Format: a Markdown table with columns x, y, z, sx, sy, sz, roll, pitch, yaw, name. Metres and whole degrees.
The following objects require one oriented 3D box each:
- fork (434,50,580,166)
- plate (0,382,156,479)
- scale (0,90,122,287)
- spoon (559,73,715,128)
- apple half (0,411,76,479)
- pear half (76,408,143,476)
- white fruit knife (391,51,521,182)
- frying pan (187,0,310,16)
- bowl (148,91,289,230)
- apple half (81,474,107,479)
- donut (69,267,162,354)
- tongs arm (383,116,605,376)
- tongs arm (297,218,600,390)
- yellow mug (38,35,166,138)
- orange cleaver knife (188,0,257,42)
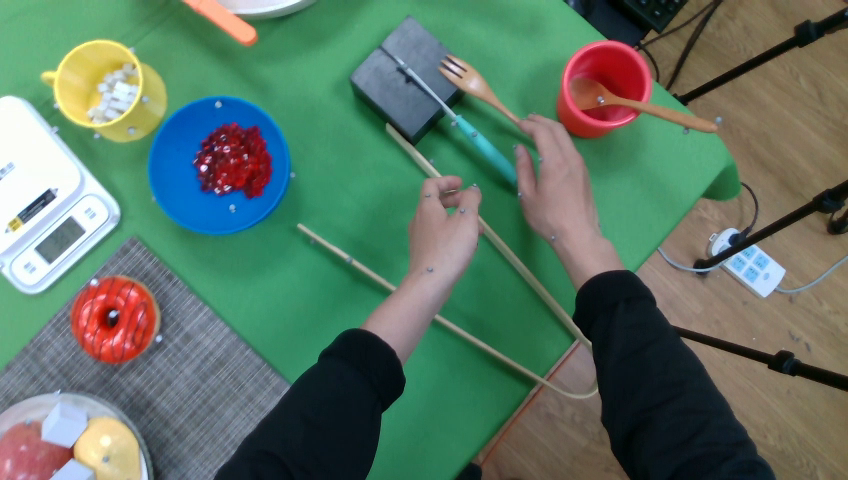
| x | y | z | sx | sy | sz | roll | pitch | yaw | name |
| --- | --- | --- | --- | --- | --- | --- | --- | --- | --- |
| 0.100 | -0.149 | 0.698 | 0.208 | 0.018 | 0.028 | 35 | 85 | -13 | fork |
| -0.397 | 0.261 | 0.672 | 0.209 | 0.038 | 0.208 | 0 | 85 | 0 | plate |
| -0.469 | -0.061 | 0.704 | 0.148 | 0.031 | 0.200 | -42 | 87 | -3 | scale |
| 0.225 | -0.150 | 0.660 | 0.041 | 0.022 | 0.191 | -52 | 43 | -5 | spoon |
| -0.432 | 0.232 | 0.657 | 0.081 | 0.053 | 0.074 | 31 | 88 | -1 | apple half |
| -0.351 | 0.230 | 0.668 | 0.088 | 0.031 | 0.070 | 46 | 100 | 5 | pear half |
| 0.038 | -0.140 | 0.690 | 0.208 | 0.027 | 0.016 | 42 | 86 | -12 | white fruit knife |
| -0.105 | -0.369 | 0.695 | 0.487 | 0.103 | 0.306 | 16 | 86 | 9 | frying pan |
| -0.221 | -0.083 | 0.685 | 0.151 | 0.077 | 0.151 | 0 | 86 | -1 | bowl |
| -0.361 | 0.299 | 0.660 | 0.081 | 0.033 | 0.081 | -1 | 80 | 3 | apple half |
| -0.348 | 0.080 | 0.684 | 0.099 | 0.048 | 0.099 | 0 | 88 | 1 | donut |
| 0.080 | 0.002 | 0.704 | 0.028 | 0.028 | 0.387 | -41 | 87 | -11 | tongs arm |
| 0.027 | 0.066 | 0.696 | 0.384 | 0.026 | 0.050 | 34 | 82 | 1 | tongs arm |
| -0.376 | -0.178 | 0.697 | 0.131 | 0.064 | 0.100 | 11 | 85 | 1 | yellow mug |
| -0.264 | -0.296 | 0.669 | 0.211 | 0.012 | 0.077 | 33 | 83 | 2 | orange cleaver knife |
